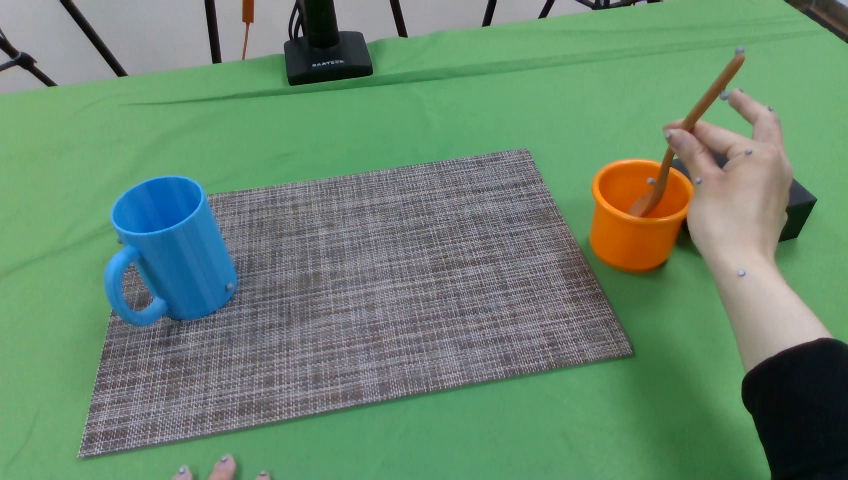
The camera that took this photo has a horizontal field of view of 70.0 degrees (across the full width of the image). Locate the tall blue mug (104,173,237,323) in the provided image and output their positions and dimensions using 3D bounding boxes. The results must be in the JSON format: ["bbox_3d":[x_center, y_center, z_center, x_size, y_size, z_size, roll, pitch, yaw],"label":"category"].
[{"bbox_3d":[-0.220,0.016,0.532,0.078,0.109,0.106,-3,45,-1],"label":"tall blue mug"}]

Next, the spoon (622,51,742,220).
[{"bbox_3d":[0.209,-0.078,0.507,0.021,0.195,0.041,27,58,14],"label":"spoon"}]
